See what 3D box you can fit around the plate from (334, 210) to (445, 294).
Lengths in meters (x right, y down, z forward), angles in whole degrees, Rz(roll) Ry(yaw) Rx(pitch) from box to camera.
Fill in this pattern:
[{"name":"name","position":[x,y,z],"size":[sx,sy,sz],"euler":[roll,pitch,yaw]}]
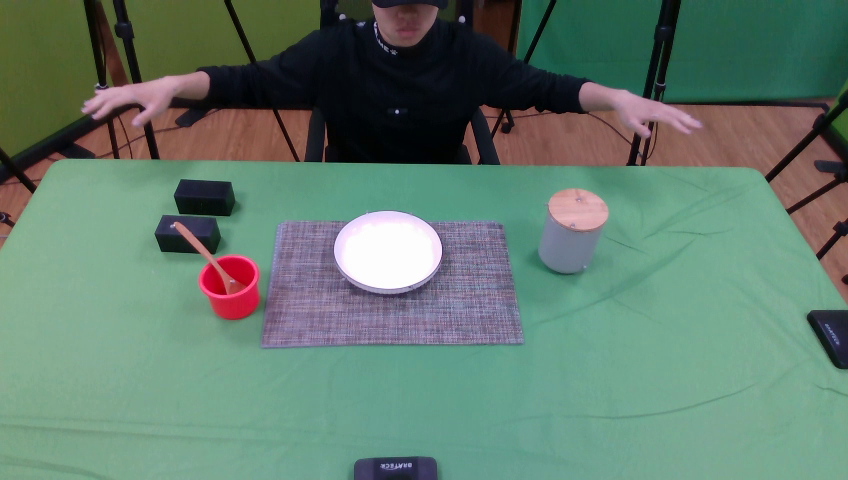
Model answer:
[{"name":"plate","position":[-0.066,0.026,1.150],"size":[0.208,0.039,0.206],"euler":[2,46,-2]}]

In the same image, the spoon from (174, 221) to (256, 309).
[{"name":"spoon","position":[-0.360,0.043,1.044],"size":[0.194,0.021,0.041],"euler":[54,51,-14]}]

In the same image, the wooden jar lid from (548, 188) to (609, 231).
[{"name":"wooden jar lid","position":[0.280,-0.053,1.105],"size":[0.108,0.021,0.107],"euler":[0,48,0]}]

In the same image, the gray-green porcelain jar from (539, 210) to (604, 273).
[{"name":"gray-green porcelain jar","position":[0.277,-0.007,1.151],"size":[0.106,0.127,0.105],"euler":[2,46,-2]}]
